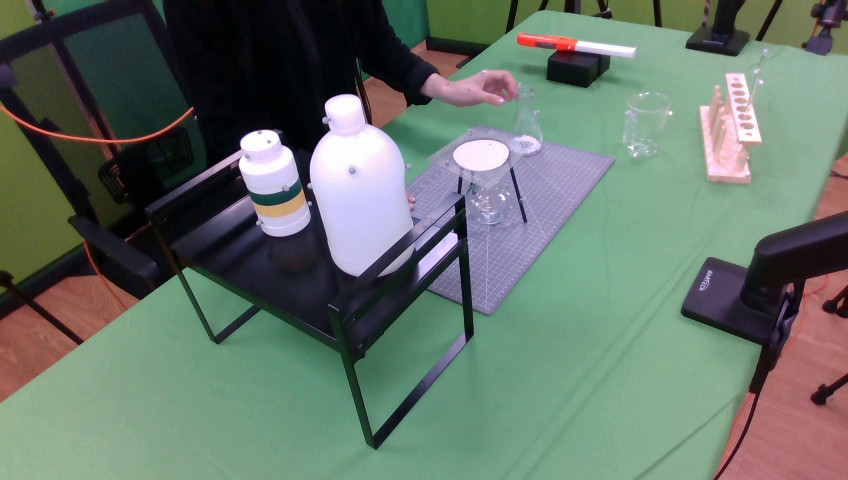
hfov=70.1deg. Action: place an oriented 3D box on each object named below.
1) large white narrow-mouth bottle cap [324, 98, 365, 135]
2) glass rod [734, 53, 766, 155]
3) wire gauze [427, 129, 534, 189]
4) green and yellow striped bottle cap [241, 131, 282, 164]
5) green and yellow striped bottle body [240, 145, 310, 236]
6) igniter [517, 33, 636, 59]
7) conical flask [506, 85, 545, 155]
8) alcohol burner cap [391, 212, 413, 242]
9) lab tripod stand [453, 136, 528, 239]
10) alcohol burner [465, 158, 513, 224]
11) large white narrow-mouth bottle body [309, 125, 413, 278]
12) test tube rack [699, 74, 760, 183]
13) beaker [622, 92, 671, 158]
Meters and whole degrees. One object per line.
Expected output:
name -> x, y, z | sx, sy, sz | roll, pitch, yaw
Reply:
large white narrow-mouth bottle cap -> -0.076, -0.120, 0.585 | 0.038, 0.024, 0.037 | -3, 42, 3
glass rod -> 0.540, -0.220, 1.007 | 0.008, 0.201, 0.008 | -5, 46, 6
wire gauze -> 0.086, -0.131, 0.923 | 0.124, 0.011, 0.122 | 26, 52, 33
green and yellow striped bottle cap -> -0.187, -0.107, 0.695 | 0.045, 0.020, 0.045 | -3, 39, 3
green and yellow striped bottle body -> -0.181, -0.068, 0.729 | 0.063, 0.120, 0.063 | -4, 40, 4
igniter -> 0.336, -0.441, 1.369 | 0.275, 0.025, 0.057 | 17, 41, 24
conical flask -> 0.190, -0.227, 1.135 | 0.075, 0.122, 0.075 | -4, 41, 4
alcohol burner cap -> -0.038, -0.023, 0.989 | 0.034, 0.048, 0.033 | -5, 40, 4
lab tripod stand -> 0.094, -0.086, 0.974 | 0.148, 0.132, 0.147 | -4, 42, 4
alcohol burner -> 0.105, -0.085, 0.987 | 0.078, 0.119, 0.077 | -5, 43, 5
large white narrow-mouth bottle body -> -0.069, -0.057, 0.644 | 0.102, 0.195, 0.101 | -3, 42, 4
test tube rack -> 0.547, -0.208, 1.095 | 0.066, 0.085, 0.242 | 6, 42, 16
beaker -> 0.402, -0.209, 1.106 | 0.074, 0.101, 0.083 | -9, 40, -2
